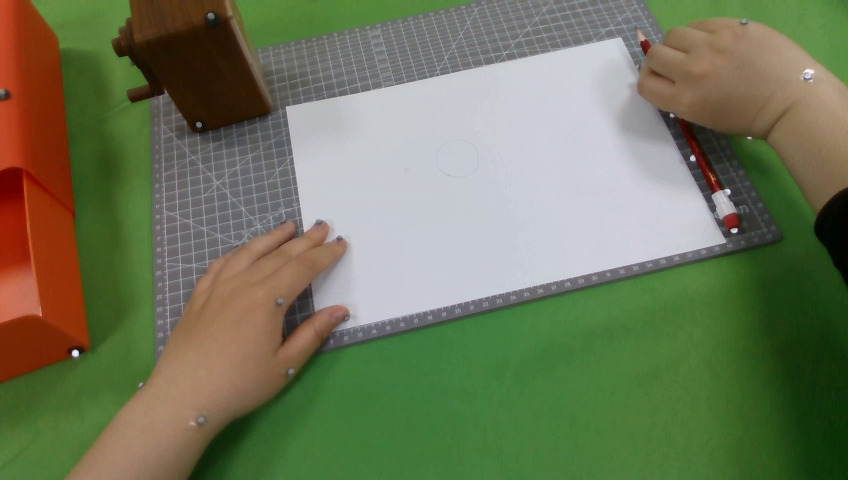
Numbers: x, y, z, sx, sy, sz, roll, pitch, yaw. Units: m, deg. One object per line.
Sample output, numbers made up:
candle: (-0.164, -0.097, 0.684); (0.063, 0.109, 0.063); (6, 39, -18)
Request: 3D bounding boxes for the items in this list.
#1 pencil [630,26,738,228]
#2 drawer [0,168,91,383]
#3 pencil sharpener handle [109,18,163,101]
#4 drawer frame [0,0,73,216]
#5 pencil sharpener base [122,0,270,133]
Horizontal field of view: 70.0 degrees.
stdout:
pencil: (0.198, -0.095, 0.471); (0.012, 0.012, 0.192); (-14, 66, -3)
drawer: (-0.358, 0.013, 0.427); (0.194, 0.074, 0.209); (-21, 62, -7)
pencil sharpener handle: (-0.225, -0.133, 0.461); (0.030, 0.068, 0.035); (-19, 60, -5)
drawer frame: (-0.401, -0.084, 0.477); (0.202, 0.083, 0.211); (-20, 62, -6)
pencil sharpener base: (-0.176, -0.144, 0.477); (0.077, 0.108, 0.061); (-18, 63, -5)
